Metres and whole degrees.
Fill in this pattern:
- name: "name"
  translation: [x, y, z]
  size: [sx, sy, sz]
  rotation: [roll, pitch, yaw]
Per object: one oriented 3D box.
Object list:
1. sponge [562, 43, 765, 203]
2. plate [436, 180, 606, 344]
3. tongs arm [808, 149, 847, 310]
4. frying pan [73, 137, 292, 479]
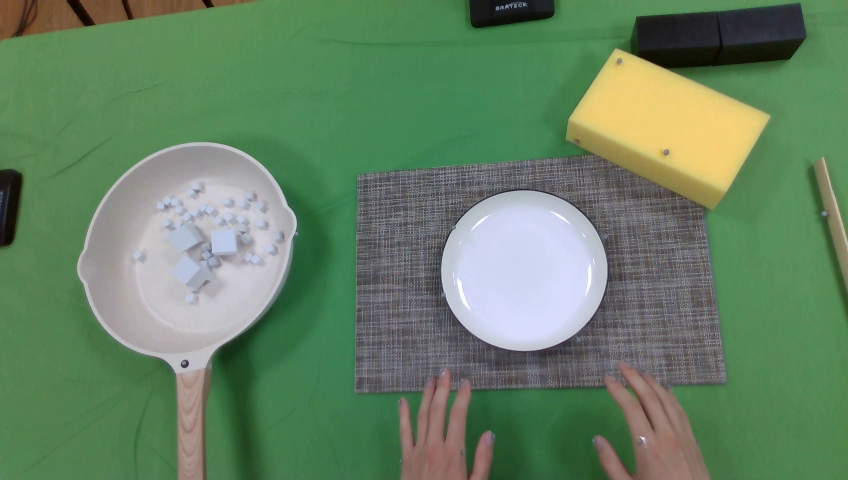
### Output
- name: "sponge"
  translation: [0.296, -0.150, 0.769]
  size: [0.206, 0.061, 0.118]
  rotation: [30, 80, 16]
- name: "plate"
  translation: [0.120, 0.028, 0.762]
  size: [0.207, 0.039, 0.206]
  rotation: [-2, 76, 9]
- name: "tongs arm"
  translation: [0.508, 0.075, 0.700]
  size: [0.028, 0.028, 0.385]
  rotation: [-9, 75, 5]
- name: "frying pan"
  translation: [-0.301, 0.101, 0.779]
  size: [0.306, 0.103, 0.483]
  rotation: [-11, 66, 7]
